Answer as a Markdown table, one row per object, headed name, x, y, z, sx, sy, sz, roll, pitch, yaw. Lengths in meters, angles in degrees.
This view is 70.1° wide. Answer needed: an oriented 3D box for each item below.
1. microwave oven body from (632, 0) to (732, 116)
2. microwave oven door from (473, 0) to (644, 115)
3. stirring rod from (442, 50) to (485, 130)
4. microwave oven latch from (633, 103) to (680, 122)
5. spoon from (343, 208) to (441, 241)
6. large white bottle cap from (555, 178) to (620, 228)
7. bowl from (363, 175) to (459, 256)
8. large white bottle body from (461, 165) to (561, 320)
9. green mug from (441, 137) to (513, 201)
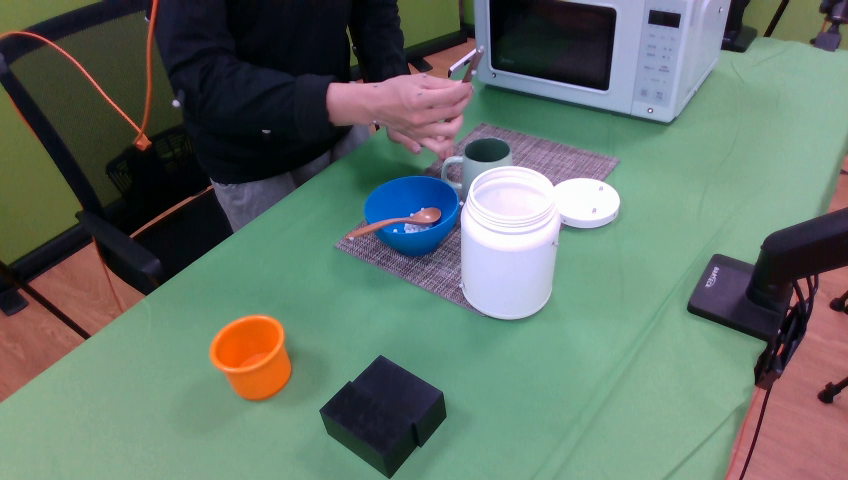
| name | x | y | z | sx | sy | sz | roll | pitch | yaw |
| --- | --- | --- | --- | --- | --- | --- | --- | --- | --- |
| microwave oven body | 0.377 | -0.462 | 1.267 | 0.438 | 0.261 | 0.327 | 21 | 48 | 30 |
| microwave oven door | 0.257 | -0.396 | 1.199 | 0.353 | 0.245 | 0.039 | 21 | 48 | 29 |
| stirring rod | 0.051 | -0.196 | 0.809 | 0.014 | 0.176 | 0.006 | -36 | 80 | -23 |
| microwave oven latch | 0.443 | -0.249 | 1.157 | 0.078 | 0.029 | 0.030 | 21 | 48 | 30 |
| spoon | -0.046 | -0.025 | 0.912 | 0.041 | 0.021 | 0.195 | 26 | 27 | 37 |
| large white bottle cap | 0.265 | -0.063 | 1.001 | 0.115 | 0.018 | 0.114 | -3 | 42 | 3 |
| bowl | -0.017 | -0.028 | 0.955 | 0.151 | 0.077 | 0.150 | -4 | 40 | 4 |
| large white bottle body | 0.115 | 0.004 | 0.816 | 0.130 | 0.185 | 0.130 | -2 | 43 | 2 |
| green mug | 0.091 | -0.108 | 1.012 | 0.125 | 0.105 | 0.092 | 2 | 42 | 11 |
